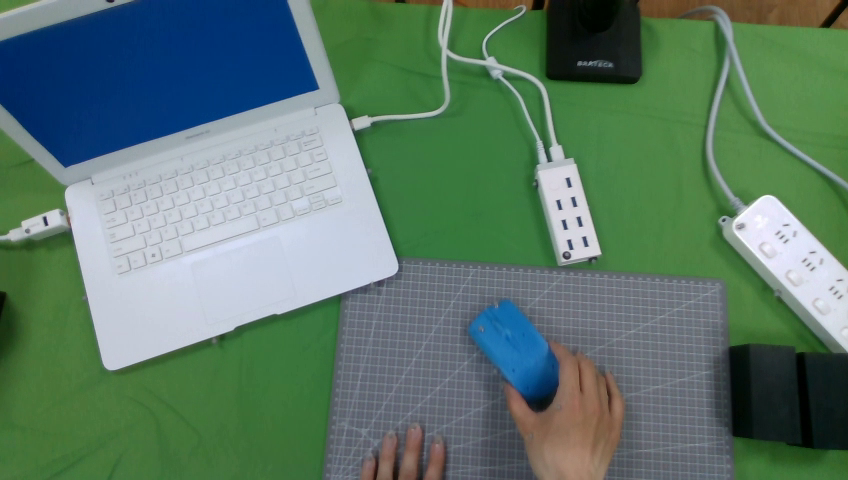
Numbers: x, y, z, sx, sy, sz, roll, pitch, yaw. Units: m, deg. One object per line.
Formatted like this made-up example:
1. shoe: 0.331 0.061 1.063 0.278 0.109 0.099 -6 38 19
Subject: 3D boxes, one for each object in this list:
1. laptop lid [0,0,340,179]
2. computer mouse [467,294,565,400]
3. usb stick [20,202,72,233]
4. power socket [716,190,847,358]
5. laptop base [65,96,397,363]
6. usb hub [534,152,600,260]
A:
1. laptop lid: -0.282 -0.184 0.648 0.357 0.244 0.013 -19 62 -3
2. computer mouse: 0.102 0.118 0.680 0.063 0.041 0.116 -36 75 -6
3. usb stick: -0.439 -0.028 0.716 0.059 0.027 0.021 -19 80 -9
4. power socket: 0.443 0.037 0.704 0.072 0.033 0.225 -38 79 -8
5. laptop base: -0.232 -0.019 0.727 0.354 0.023 0.234 -19 80 -4
6. usb hub: 0.170 -0.041 0.727 0.049 0.025 0.124 -11 77 -2
